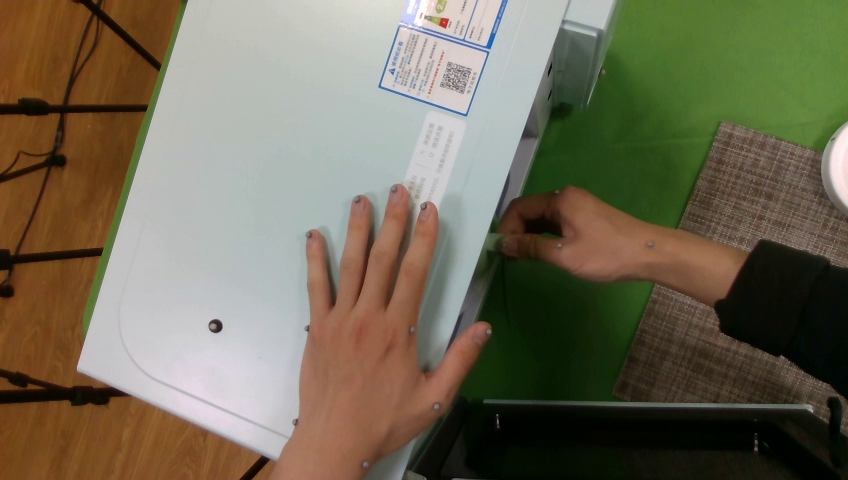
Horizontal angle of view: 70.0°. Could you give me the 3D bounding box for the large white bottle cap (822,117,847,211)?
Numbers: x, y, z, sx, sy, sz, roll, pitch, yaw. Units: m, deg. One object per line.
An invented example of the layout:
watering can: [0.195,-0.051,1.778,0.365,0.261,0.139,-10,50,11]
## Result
large white bottle cap: [0.443,-0.074,0.573,0.114,0.018,0.114,0,90,11]

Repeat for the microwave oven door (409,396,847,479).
microwave oven door: [0.180,0.179,0.502,0.355,0.244,0.039,-3,89,12]

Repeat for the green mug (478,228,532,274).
green mug: [0.035,-0.002,0.547,0.125,0.105,0.092,5,89,8]

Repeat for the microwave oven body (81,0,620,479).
microwave oven body: [-0.052,-0.061,0.551,0.325,0.260,0.442,20,95,10]

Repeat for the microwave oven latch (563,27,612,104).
microwave oven latch: [0.162,-0.179,0.604,0.030,0.029,0.079,20,95,10]
